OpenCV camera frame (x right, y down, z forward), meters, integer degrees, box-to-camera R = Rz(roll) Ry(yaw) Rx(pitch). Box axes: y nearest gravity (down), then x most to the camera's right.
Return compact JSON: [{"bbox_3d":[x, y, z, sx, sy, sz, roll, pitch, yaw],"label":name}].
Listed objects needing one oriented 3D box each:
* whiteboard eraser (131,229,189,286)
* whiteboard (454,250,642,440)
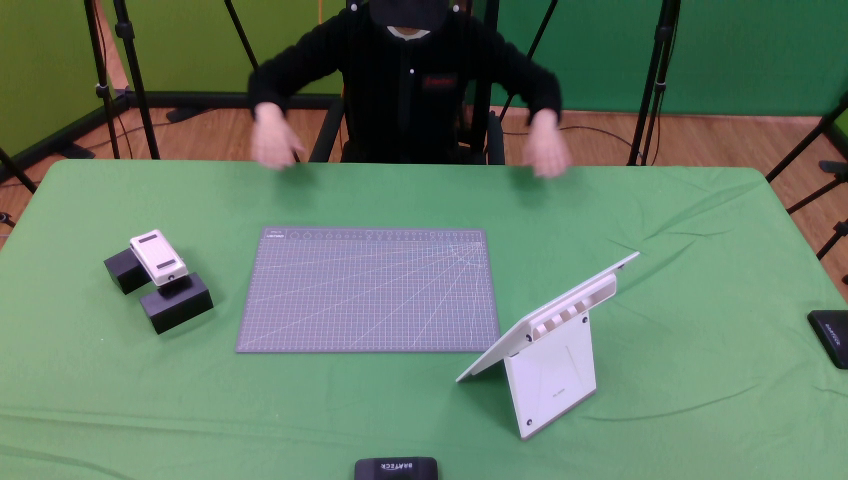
[{"bbox_3d":[-0.458,0.032,1.050,0.055,0.042,0.112,-29,57,-30],"label":"whiteboard eraser"},{"bbox_3d":[0.206,0.175,0.889,0.217,0.306,0.143,-24,72,-25],"label":"whiteboard"}]
